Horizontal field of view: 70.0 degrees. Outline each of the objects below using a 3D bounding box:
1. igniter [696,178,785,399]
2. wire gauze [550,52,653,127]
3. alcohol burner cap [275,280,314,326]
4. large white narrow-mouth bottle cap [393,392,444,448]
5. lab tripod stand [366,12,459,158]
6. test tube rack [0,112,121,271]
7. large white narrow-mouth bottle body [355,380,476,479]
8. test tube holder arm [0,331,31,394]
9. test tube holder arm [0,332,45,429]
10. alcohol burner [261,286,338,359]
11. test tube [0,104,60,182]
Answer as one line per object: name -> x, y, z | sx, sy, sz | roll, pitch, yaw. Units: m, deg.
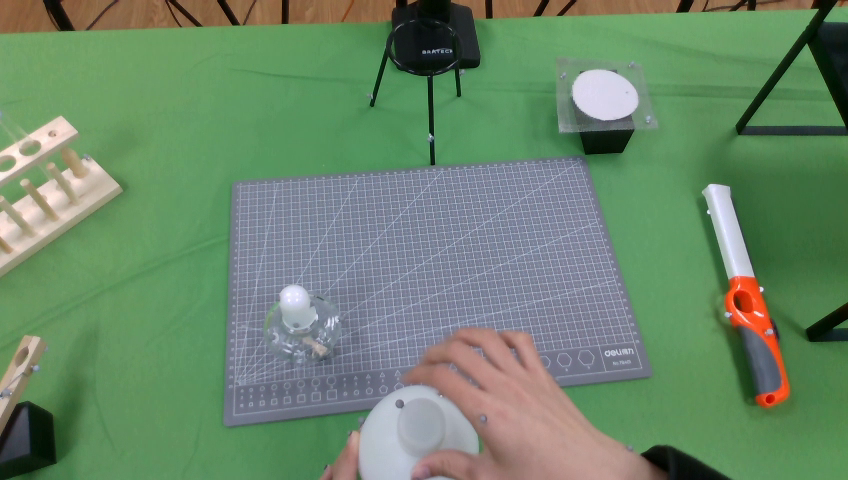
igniter -> 0.363, 0.047, 0.701 | 0.057, 0.025, 0.274 | 6, 61, -12
wire gauze -> 0.225, -0.195, 0.780 | 0.121, 0.011, 0.124 | 2, 61, -2
alcohol burner cap -> -0.124, 0.058, 0.573 | 0.034, 0.048, 0.033 | 0, 56, 0
large white narrow-mouth bottle cap -> -0.004, 0.129, 0.435 | 0.038, 0.024, 0.037 | 1, 61, -2
lab tripod stand -> -0.004, -0.198, 0.753 | 0.148, 0.132, 0.147 | 2, 62, -4
test tube rack -> -0.470, -0.028, 0.660 | 0.066, 0.086, 0.242 | 40, 66, 17
large white narrow-mouth bottle body -> -0.008, 0.175, 0.515 | 0.102, 0.196, 0.101 | 1, 61, -2
test tube holder arm -> -0.387, 0.128, 0.565 | 0.010, 0.015, 0.087 | 6, 62, 5
test tube holder arm -> -0.389, 0.167, 0.544 | 0.013, 0.015, 0.177 | 7, 62, 6
alcohol burner -> -0.126, 0.075, 0.605 | 0.078, 0.120, 0.077 | 2, 60, -4
test tube -> -0.435, -0.110, 0.650 | 0.017, 0.151, 0.017 | 0, 60, 1
